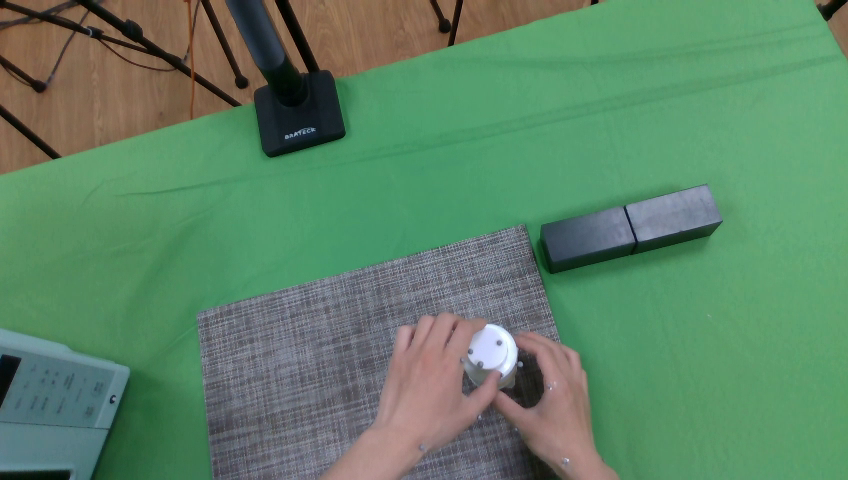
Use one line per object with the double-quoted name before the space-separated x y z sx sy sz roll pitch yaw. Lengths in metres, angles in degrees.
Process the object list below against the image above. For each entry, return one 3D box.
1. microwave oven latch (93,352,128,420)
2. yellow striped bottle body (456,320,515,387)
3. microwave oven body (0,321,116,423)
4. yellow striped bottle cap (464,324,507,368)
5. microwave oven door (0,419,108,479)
"microwave oven latch" -0.399 0.183 0.757 0.030 0.030 0.079 14 75 12
"yellow striped bottle body" 0.070 0.127 0.679 0.063 0.121 0.062 -3 70 8
"microwave oven body" -0.599 0.287 0.647 0.325 0.262 0.439 12 74 11
"yellow striped bottle cap" 0.063 0.110 0.631 0.044 0.019 0.044 -3 73 9
"microwave oven door" -0.470 0.352 0.602 0.039 0.245 0.354 11 73 12
